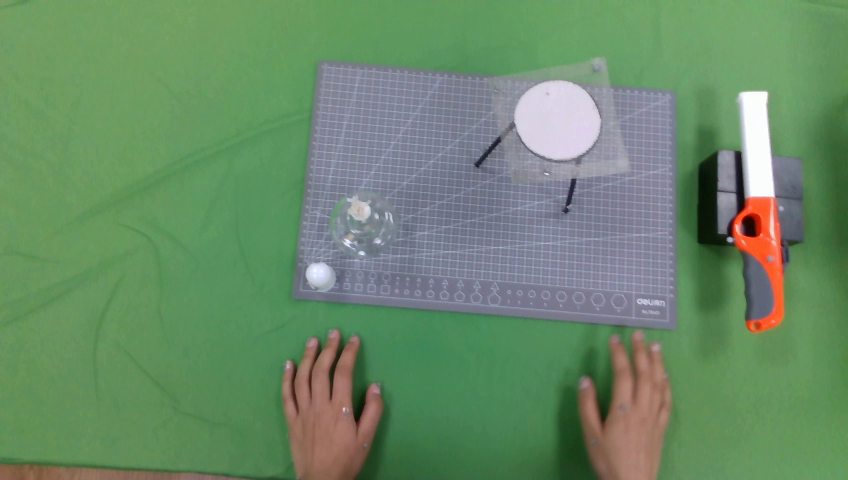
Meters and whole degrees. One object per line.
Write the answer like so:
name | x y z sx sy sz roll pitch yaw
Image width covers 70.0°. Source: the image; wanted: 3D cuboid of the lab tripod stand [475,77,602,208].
lab tripod stand | 0.135 -0.115 0.677 0.148 0.132 0.147 0 77 -1

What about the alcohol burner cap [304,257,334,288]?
alcohol burner cap | -0.121 0.035 0.686 0.034 0.048 0.033 1 79 -2

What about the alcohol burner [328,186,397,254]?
alcohol burner | -0.068 -0.025 0.663 0.078 0.119 0.077 0 81 -3

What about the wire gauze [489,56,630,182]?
wire gauze | 0.136 -0.122 0.610 0.125 0.011 0.121 -8 79 -3

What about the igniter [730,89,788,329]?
igniter | 0.374 -0.039 0.681 0.057 0.025 0.275 1 78 10
